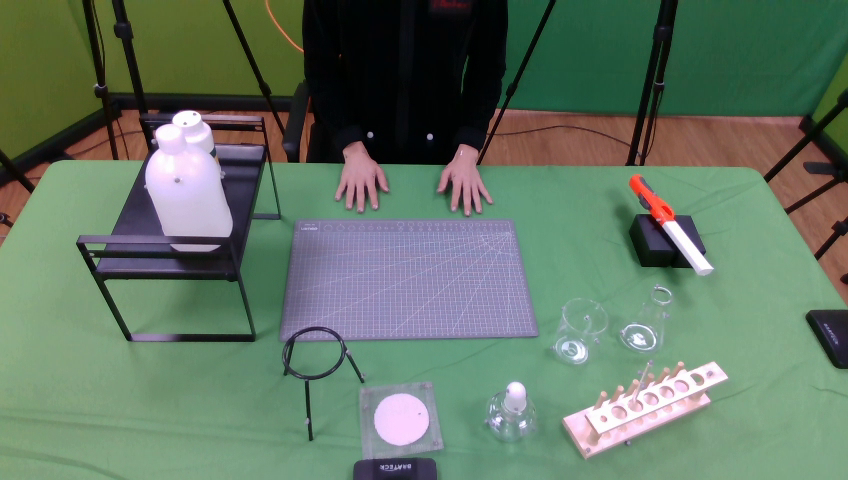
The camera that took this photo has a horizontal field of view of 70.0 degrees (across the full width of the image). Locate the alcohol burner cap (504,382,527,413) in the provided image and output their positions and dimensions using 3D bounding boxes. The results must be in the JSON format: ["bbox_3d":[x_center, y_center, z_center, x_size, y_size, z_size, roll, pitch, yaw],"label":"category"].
[{"bbox_3d":[0.133,0.225,0.877,0.034,0.048,0.033,-4,47,5],"label":"alcohol burner cap"}]

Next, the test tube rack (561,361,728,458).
[{"bbox_3d":[0.341,0.248,0.940,0.243,0.085,0.066,-15,49,-18],"label":"test tube rack"}]

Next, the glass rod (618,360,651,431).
[{"bbox_3d":[0.298,0.227,0.865,0.008,0.201,0.008,-1,47,2],"label":"glass rod"}]

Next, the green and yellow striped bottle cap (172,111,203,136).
[{"bbox_3d":[-0.374,-0.185,0.958,0.045,0.020,0.045,4,46,-4],"label":"green and yellow striped bottle cap"}]

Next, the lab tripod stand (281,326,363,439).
[{"bbox_3d":[-0.166,0.203,0.913,0.148,0.132,0.147,1,47,-1],"label":"lab tripod stand"}]

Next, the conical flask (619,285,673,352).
[{"bbox_3d":[0.385,0.130,1.031,0.075,0.122,0.075,2,46,-2],"label":"conical flask"}]

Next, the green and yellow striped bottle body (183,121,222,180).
[{"bbox_3d":[-0.375,-0.149,0.995,0.063,0.120,0.063,2,46,-2],"label":"green and yellow striped bottle body"}]

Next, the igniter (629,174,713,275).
[{"bbox_3d":[0.481,-0.040,1.202,0.057,0.025,0.274,-2,46,-21],"label":"igniter"}]

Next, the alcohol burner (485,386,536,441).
[{"bbox_3d":[0.131,0.249,0.904,0.078,0.120,0.077,1,48,-1],"label":"alcohol burner"}]

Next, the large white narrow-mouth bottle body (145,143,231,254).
[{"bbox_3d":[-0.345,-0.076,0.877,0.102,0.195,0.101,2,48,-2],"label":"large white narrow-mouth bottle body"}]

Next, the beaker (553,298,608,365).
[{"bbox_3d":[0.260,0.154,1.015,0.073,0.101,0.084,37,54,27],"label":"beaker"}]

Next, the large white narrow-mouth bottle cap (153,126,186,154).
[{"bbox_3d":[-0.340,-0.135,0.812,0.038,0.024,0.037,2,48,-2],"label":"large white narrow-mouth bottle cap"}]

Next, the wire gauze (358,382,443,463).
[{"bbox_3d":[-0.039,0.277,0.937,0.121,0.011,0.124,-4,47,-7],"label":"wire gauze"}]
